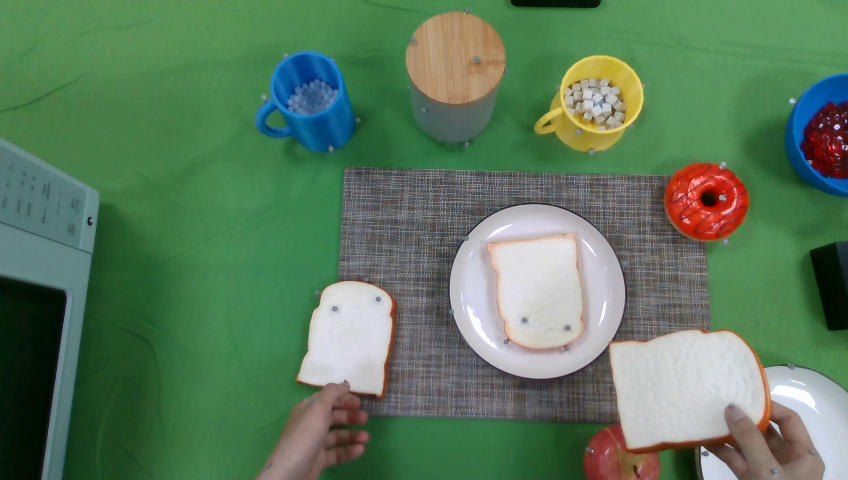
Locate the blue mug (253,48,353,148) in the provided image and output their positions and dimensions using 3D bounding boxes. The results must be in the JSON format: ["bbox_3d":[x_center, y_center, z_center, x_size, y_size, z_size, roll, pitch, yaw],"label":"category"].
[{"bbox_3d":[-0.147,-0.160,0.728,0.116,0.106,0.082,-24,79,-4],"label":"blue mug"}]

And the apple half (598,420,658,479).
[{"bbox_3d":[0.226,0.238,0.669,0.053,0.075,0.080,-7,77,-5],"label":"apple half"}]

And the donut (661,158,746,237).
[{"bbox_3d":[0.337,-0.052,0.734,0.099,0.048,0.098,0,80,0],"label":"donut"}]

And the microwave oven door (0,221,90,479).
[{"bbox_3d":[-0.422,0.161,0.579,0.039,0.244,0.354,2,79,1],"label":"microwave oven door"}]

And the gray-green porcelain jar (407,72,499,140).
[{"bbox_3d":[0.033,-0.185,0.722,0.106,0.127,0.105,0,79,0],"label":"gray-green porcelain jar"}]

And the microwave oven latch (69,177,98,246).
[{"bbox_3d":[-0.411,-0.034,0.719,0.030,0.029,0.079,6,80,1],"label":"microwave oven latch"}]

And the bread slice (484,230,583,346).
[{"bbox_3d":[0.135,0.058,0.718,0.107,0.018,0.133,-9,79,-1],"label":"bread slice"}]

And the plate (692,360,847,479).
[{"bbox_3d":[0.404,0.241,0.685,0.209,0.038,0.208,0,79,0],"label":"plate"}]

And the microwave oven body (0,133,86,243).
[{"bbox_3d":[-0.565,0.115,0.593,0.326,0.261,0.440,2,80,0],"label":"microwave oven body"}]

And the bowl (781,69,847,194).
[{"bbox_3d":[0.497,-0.120,0.733,0.151,0.077,0.150,0,79,1],"label":"bowl"}]

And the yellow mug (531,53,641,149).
[{"bbox_3d":[0.194,-0.165,0.749,0.131,0.064,0.099,-22,80,-3],"label":"yellow mug"}]

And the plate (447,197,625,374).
[{"bbox_3d":[0.130,0.053,0.718,0.208,0.039,0.206,0,79,0],"label":"plate"}]

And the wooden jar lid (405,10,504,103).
[{"bbox_3d":[0.033,-0.198,0.661,0.108,0.021,0.108,0,77,1],"label":"wooden jar lid"}]

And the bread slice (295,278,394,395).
[{"bbox_3d":[-0.091,0.109,0.718,0.105,0.019,0.131,9,80,1],"label":"bread slice"}]

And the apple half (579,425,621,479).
[{"bbox_3d":[0.187,0.244,0.666,0.033,0.081,0.081,-5,79,-5],"label":"apple half"}]
